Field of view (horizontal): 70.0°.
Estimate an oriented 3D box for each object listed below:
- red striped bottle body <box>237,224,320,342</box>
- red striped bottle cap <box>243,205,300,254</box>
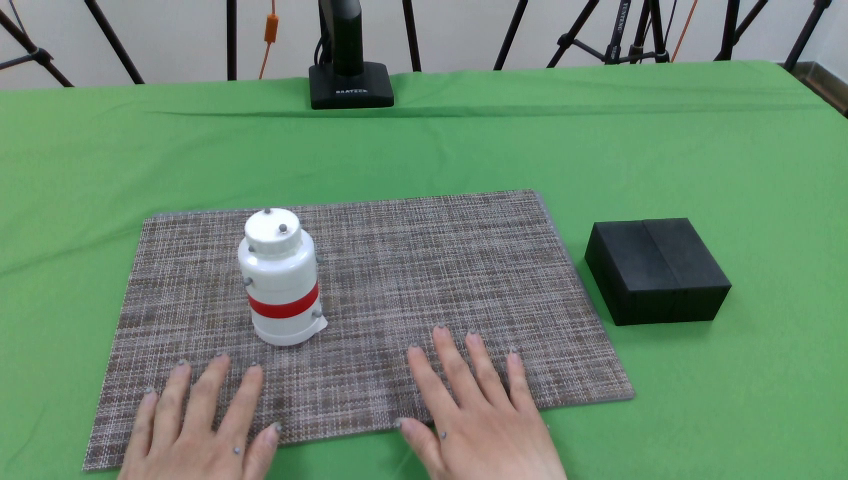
[{"bbox_3d":[-0.127,0.030,0.531,0.063,0.121,0.062,2,42,-2],"label":"red striped bottle body"},{"bbox_3d":[-0.125,-0.010,0.495,0.044,0.018,0.044,5,41,-4],"label":"red striped bottle cap"}]
